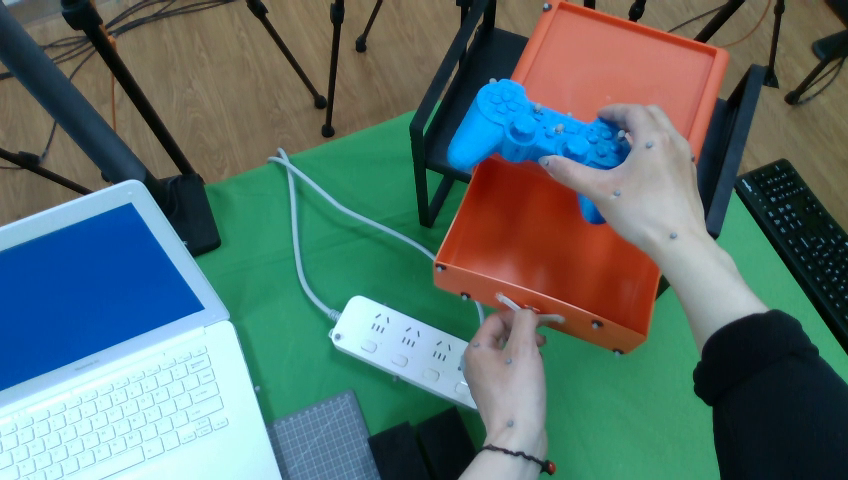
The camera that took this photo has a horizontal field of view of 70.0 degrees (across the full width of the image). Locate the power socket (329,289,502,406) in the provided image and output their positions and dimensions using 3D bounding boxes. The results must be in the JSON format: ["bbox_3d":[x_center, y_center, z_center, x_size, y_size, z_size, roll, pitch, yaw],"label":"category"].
[{"bbox_3d":[-0.010,0.131,0.748,0.226,0.033,0.072,23,70,11],"label":"power socket"}]

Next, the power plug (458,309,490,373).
[{"bbox_3d":[0.069,0.125,0.723,0.035,0.053,0.072,33,70,13],"label":"power plug"}]

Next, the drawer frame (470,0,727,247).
[{"bbox_3d":[0.178,-0.128,0.627,0.201,0.083,0.212,21,69,10],"label":"drawer frame"}]

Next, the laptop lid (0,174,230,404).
[{"bbox_3d":[-0.430,0.076,0.675,0.357,0.244,0.013,-23,44,-7],"label":"laptop lid"}]

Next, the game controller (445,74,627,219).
[{"bbox_3d":[0.105,-0.089,0.532,0.155,0.052,0.096,23,58,-1],"label":"game controller"}]

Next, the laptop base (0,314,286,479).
[{"bbox_3d":[-0.361,0.256,0.715,0.354,0.023,0.234,-22,72,-8],"label":"laptop base"}]

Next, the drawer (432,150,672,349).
[{"bbox_3d":[0.135,-0.026,0.588,0.194,0.074,0.210,20,68,10],"label":"drawer"}]
